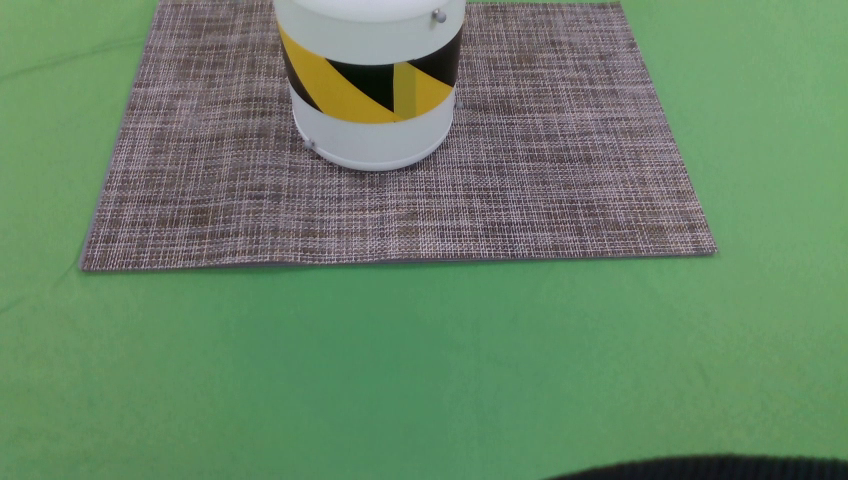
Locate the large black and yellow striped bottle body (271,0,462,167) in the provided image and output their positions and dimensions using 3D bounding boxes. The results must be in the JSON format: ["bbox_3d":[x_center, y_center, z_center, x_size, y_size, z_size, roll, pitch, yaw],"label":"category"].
[{"bbox_3d":[-0.039,-0.157,0.426,0.131,0.185,0.129,2,56,-2],"label":"large black and yellow striped bottle body"}]
